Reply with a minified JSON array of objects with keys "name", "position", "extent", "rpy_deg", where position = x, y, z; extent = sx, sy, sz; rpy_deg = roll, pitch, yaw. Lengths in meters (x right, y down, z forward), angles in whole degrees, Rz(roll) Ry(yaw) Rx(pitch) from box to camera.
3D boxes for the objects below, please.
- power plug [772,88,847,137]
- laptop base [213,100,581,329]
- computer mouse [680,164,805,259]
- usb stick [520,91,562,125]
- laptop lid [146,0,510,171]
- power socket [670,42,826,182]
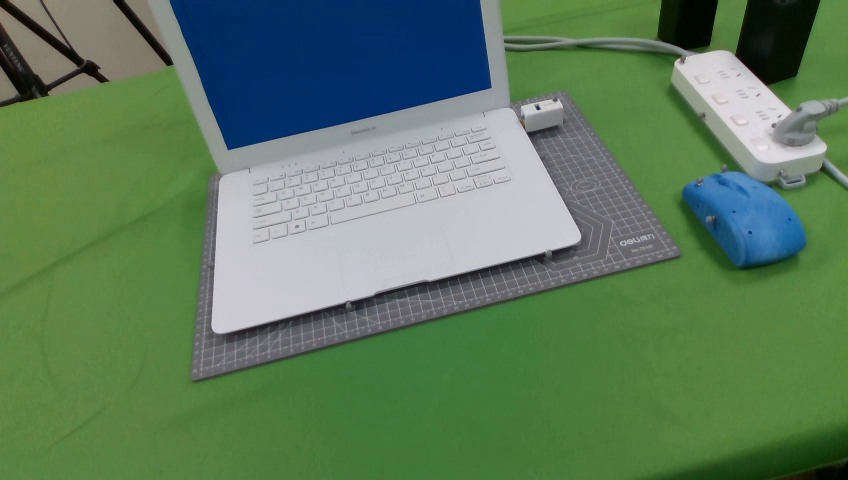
[{"name":"power plug","position":[0.376,-0.115,0.584],"extent":[0.072,0.053,0.035],"rpy_deg":[-4,49,8]},{"name":"laptop base","position":[-0.043,-0.038,0.636],"extent":[0.354,0.023,0.233],"rpy_deg":[-14,49,-2]},{"name":"computer mouse","position":[0.286,-0.034,0.550],"extent":[0.063,0.041,0.116],"rpy_deg":[-15,41,1]},{"name":"usb stick","position":[0.126,-0.148,0.689],"extent":[0.059,0.027,0.021],"rpy_deg":[-15,45,2]},{"name":"laptop lid","position":[-0.090,-0.215,0.652],"extent":[0.357,0.244,0.013],"rpy_deg":[-16,33,-1]},{"name":"power socket","position":[0.339,-0.147,0.651],"extent":[0.072,0.033,0.224],"rpy_deg":[-12,46,1]}]
